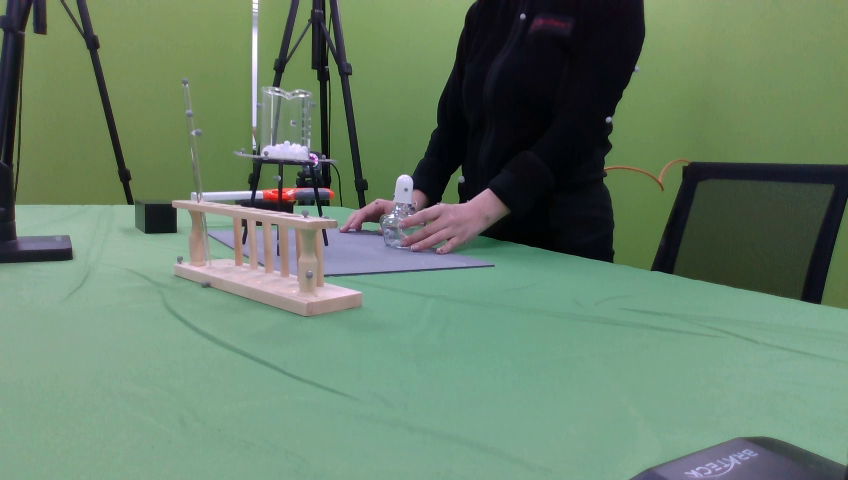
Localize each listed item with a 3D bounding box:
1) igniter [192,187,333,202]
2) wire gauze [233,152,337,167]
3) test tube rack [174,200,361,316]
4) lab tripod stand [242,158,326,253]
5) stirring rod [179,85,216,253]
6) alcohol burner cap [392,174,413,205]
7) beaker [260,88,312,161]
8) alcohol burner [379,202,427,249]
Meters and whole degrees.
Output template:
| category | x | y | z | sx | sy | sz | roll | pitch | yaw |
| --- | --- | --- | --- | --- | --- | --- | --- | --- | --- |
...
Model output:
| category | x | y | z | sx | sy | sz | roll | pitch | yaw |
| --- | --- | --- | --- | --- | --- | --- | --- | --- | --- |
| igniter | -0.316 | -0.090 | 1.214 | 0.278 | 0.025 | 0.057 | -5 | 12 | -31 |
| wire gauze | -0.205 | -0.119 | 0.887 | 0.122 | 0.011 | 0.124 | 2 | 4 | -32 |
| test tube rack | -0.169 | 0.009 | 0.622 | 0.241 | 0.085 | 0.067 | 9 | 9 | 41 |
| lab tripod stand | -0.207 | -0.054 | 0.895 | 0.148 | 0.131 | 0.148 | 3 | 5 | 0 |
| stirring rod | -0.237 | -0.073 | 0.634 | 0.006 | 0.176 | 0.014 | 0 | 10 | 42 |
| alcohol burner cap | -0.033 | -0.082 | 0.969 | 0.034 | 0.048 | 0.034 | 5 | 8 | 0 |
| beaker | -0.201 | -0.166 | 0.876 | 0.074 | 0.100 | 0.083 | 1 | 7 | -18 |
| alcohol burner | -0.034 | -0.046 | 0.974 | 0.078 | 0.119 | 0.078 | 1 | 6 | 0 |
